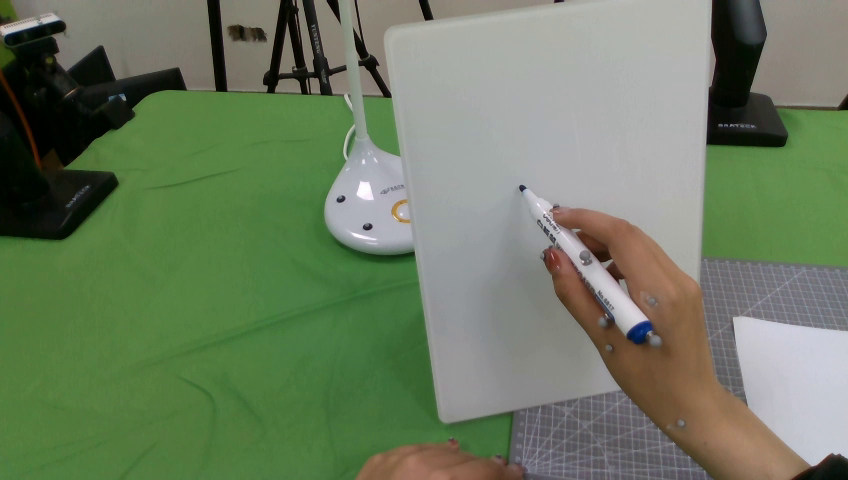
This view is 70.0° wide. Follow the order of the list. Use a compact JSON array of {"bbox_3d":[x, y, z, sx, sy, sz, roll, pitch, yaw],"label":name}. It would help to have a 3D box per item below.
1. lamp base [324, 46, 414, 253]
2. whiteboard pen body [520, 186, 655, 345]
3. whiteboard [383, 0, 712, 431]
[{"bbox_3d":[-0.047,-0.104,0.649,0.161,0.182,0.177,-29,43,-25],"label":"lamp base"},{"bbox_3d":[0.095,0.009,0.375,0.017,0.017,0.139,-18,48,-14],"label":"whiteboard pen body"},{"bbox_3d":[0.092,-0.031,0.498,0.217,0.307,0.142,-9,22,-4],"label":"whiteboard"}]
